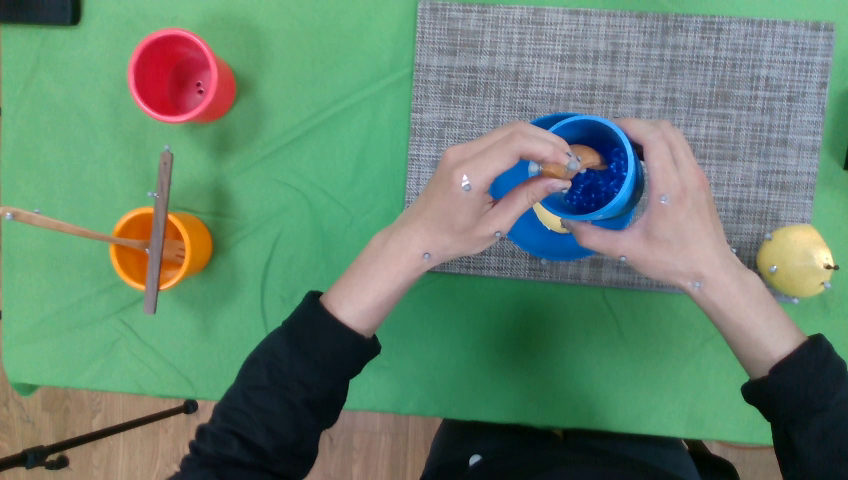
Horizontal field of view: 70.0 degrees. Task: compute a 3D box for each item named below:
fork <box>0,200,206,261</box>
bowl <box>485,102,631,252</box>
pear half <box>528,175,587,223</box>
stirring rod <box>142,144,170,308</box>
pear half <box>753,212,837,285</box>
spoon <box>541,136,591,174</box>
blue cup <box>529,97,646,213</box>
[{"bbox_3d":[-0.337,-0.009,0.648,0.209,0.018,0.028,18,109,-42],"label":"fork"},{"bbox_3d":[0.139,-0.066,0.643,0.151,0.077,0.151,0,96,4],"label":"bowl"},{"bbox_3d":[0.146,-0.062,0.637,0.070,0.031,0.088,-17,90,2],"label":"pear half"},{"bbox_3d":[-0.284,-0.014,0.642,0.014,0.006,0.176,9,97,0],"label":"stirring rod"},{"bbox_3d":[0.378,0.012,0.620,0.056,0.110,0.076,-15,90,6],"label":"pear half"},{"bbox_3d":[0.110,-0.060,0.448,0.041,0.194,0.022,26,112,15],"label":"spoon"},{"bbox_3d":[0.150,-0.061,0.524,0.092,0.101,0.092,-2,86,33],"label":"blue cup"}]
